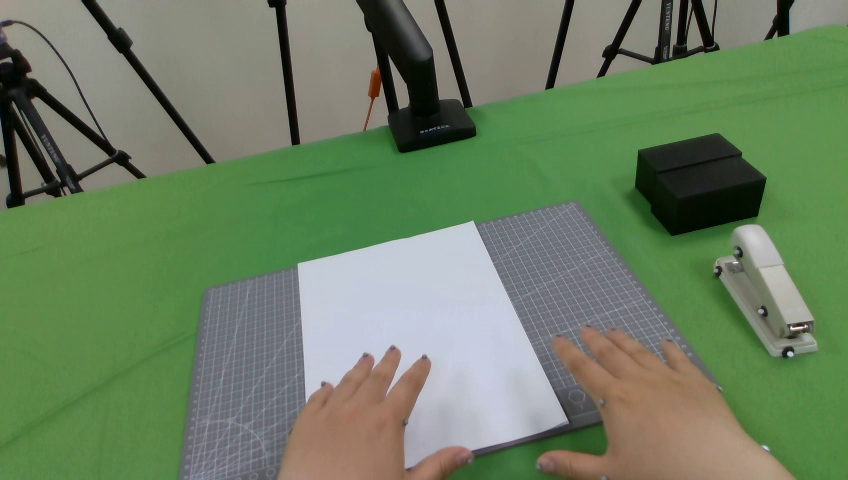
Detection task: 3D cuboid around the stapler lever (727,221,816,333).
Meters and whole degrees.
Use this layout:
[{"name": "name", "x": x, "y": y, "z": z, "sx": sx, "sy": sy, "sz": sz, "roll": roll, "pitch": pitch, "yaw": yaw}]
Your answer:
[{"name": "stapler lever", "x": 0.309, "y": 0.029, "z": 0.544, "sx": 0.027, "sy": 0.040, "sz": 0.117, "roll": -10, "pitch": 40, "yaw": 3}]

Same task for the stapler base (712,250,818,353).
[{"name": "stapler base", "x": 0.313, "y": 0.047, "z": 0.561, "sx": 0.041, "sy": 0.025, "sz": 0.129, "roll": -10, "pitch": 40, "yaw": 3}]
